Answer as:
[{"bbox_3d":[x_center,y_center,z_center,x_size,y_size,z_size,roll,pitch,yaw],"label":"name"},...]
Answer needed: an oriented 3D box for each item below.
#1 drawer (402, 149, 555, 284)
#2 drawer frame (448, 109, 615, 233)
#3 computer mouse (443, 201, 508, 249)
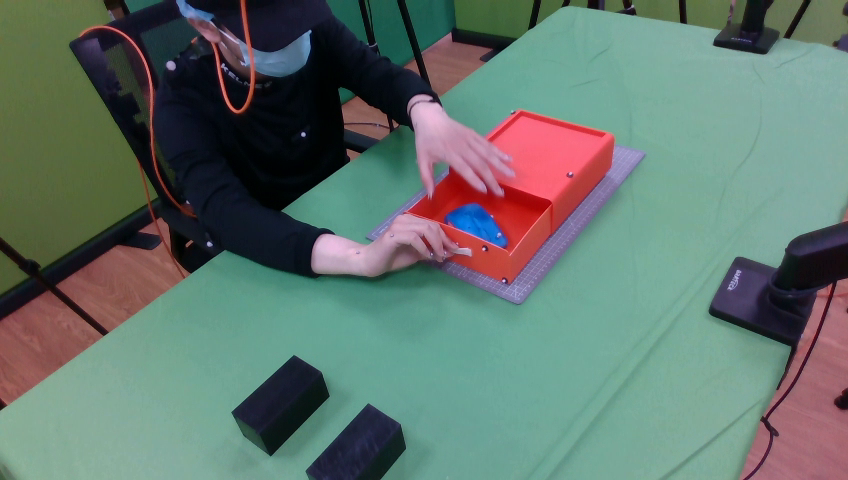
[{"bbox_3d":[0.107,-0.049,0.962,0.193,0.073,0.212,22,50,31],"label":"drawer"},{"bbox_3d":[0.184,-0.124,1.033,0.200,0.083,0.214,23,49,31],"label":"drawer frame"},{"bbox_3d":[0.081,-0.020,0.954,0.063,0.041,0.116,-20,49,-18],"label":"computer mouse"}]
